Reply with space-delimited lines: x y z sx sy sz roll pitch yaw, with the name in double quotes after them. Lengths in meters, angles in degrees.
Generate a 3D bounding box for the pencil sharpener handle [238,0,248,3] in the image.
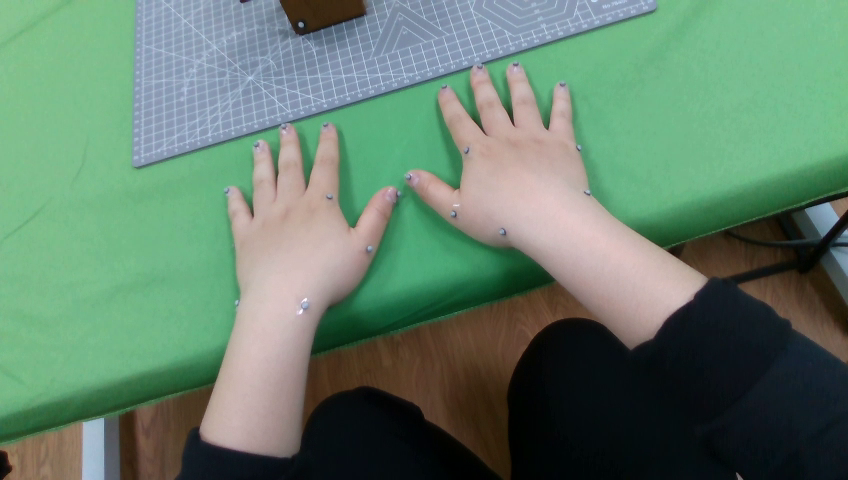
-0.152 -0.226 0.498 0.030 0.068 0.035 -18 61 3 "pencil sharpener handle"

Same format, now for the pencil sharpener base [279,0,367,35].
-0.101 -0.237 0.507 0.077 0.108 0.061 -18 62 3 "pencil sharpener base"
